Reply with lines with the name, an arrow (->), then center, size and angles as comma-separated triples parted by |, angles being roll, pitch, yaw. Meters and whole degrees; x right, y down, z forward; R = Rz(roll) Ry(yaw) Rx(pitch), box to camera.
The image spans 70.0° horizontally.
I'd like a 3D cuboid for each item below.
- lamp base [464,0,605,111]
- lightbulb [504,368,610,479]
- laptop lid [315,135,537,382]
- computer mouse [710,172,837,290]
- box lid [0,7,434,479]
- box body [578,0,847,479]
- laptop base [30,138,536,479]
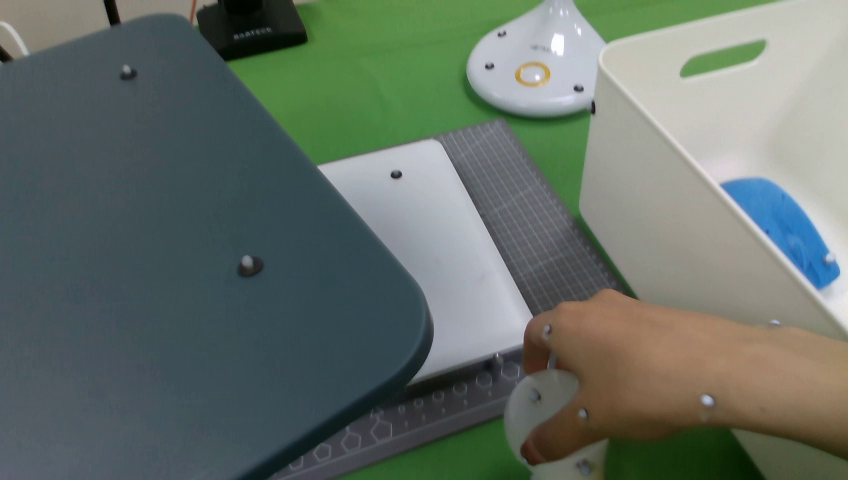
lamp base -> 0.123, -0.252, 0.607 | 0.160, 0.182, 0.178 | 10, 49, 11
lightbulb -> 0.083, 0.127, 0.349 | 0.059, 0.059, 0.107 | -17, 89, -10
laptop lid -> -0.117, 0.032, 0.472 | 0.357, 0.013, 0.239 | -15, 53, -9
computer mouse -> 0.270, -0.009, 0.482 | 0.063, 0.041, 0.116 | -15, 56, -13
box lid -> -0.193, -0.008, 0.298 | 0.263, 0.015, 0.367 | -29, 51, -18
box body -> 0.291, 0.007, 0.395 | 0.254, 0.162, 0.360 | -16, 51, -11
laptop base -> -0.117, 0.038, 0.483 | 0.355, 0.023, 0.233 | -16, 55, -11
